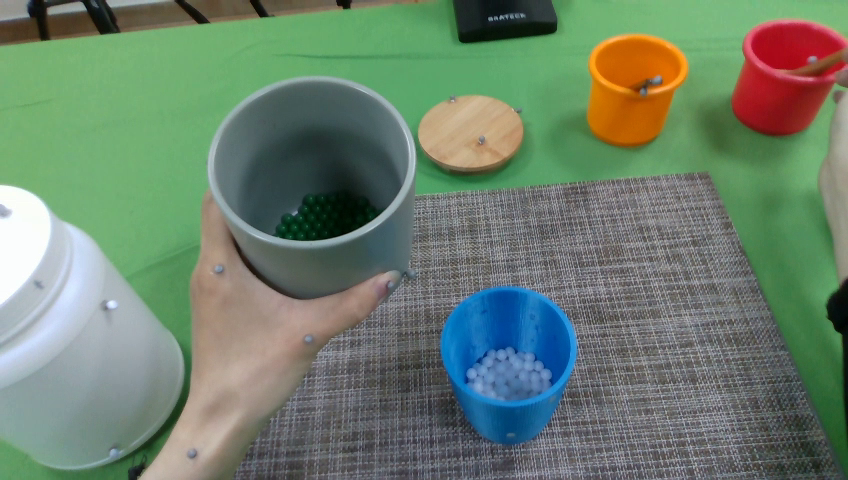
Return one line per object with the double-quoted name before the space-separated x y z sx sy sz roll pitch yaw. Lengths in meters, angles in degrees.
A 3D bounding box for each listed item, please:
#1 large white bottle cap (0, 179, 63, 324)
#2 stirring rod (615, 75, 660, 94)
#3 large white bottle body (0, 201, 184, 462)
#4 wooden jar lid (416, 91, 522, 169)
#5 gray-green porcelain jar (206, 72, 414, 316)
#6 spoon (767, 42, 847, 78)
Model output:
"large white bottle cap" -0.270 0.011 0.348 0.115 0.018 0.113 -2 53 3
"stirring rod" 0.196 -0.144 0.565 0.014 0.006 0.176 0 10 11
"large white bottle body" -0.263 0.062 0.417 0.130 0.186 0.129 -2 53 3
"wooden jar lid" 0.046 -0.113 0.627 0.108 0.021 0.107 -2 52 3
"gray-green porcelain jar" -0.060 -0.018 0.363 0.106 0.127 0.105 1 64 -2
"spoon" 0.363 -0.161 0.509 0.042 0.193 0.021 -2 92 -7
